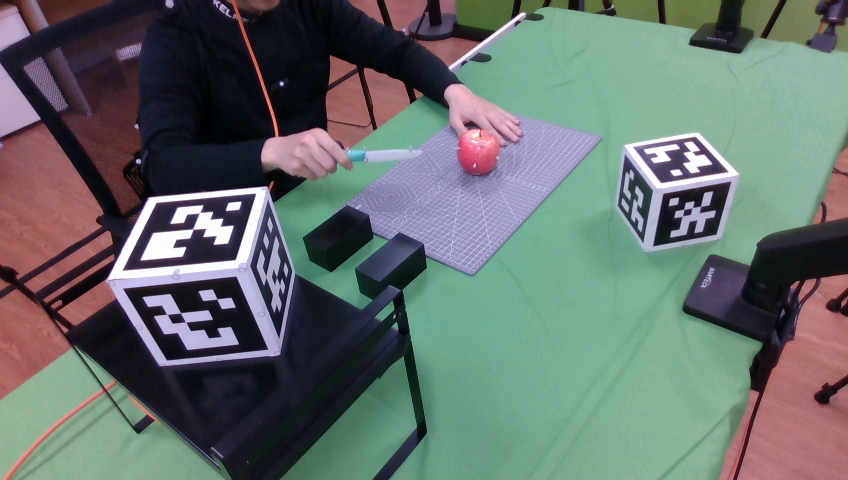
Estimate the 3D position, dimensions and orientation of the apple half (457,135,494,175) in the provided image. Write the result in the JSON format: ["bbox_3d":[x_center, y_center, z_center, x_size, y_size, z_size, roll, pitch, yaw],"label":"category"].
[{"bbox_3d":[0.086,-0.145,1.083,0.080,0.081,0.033,22,44,29],"label":"apple half"}]

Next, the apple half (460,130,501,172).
[{"bbox_3d":[0.109,-0.166,1.106,0.080,0.075,0.053,18,42,33],"label":"apple half"}]

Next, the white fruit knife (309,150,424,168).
[{"bbox_3d":[-0.095,-0.129,0.945,0.206,0.027,0.016,-1,52,23],"label":"white fruit knife"}]
